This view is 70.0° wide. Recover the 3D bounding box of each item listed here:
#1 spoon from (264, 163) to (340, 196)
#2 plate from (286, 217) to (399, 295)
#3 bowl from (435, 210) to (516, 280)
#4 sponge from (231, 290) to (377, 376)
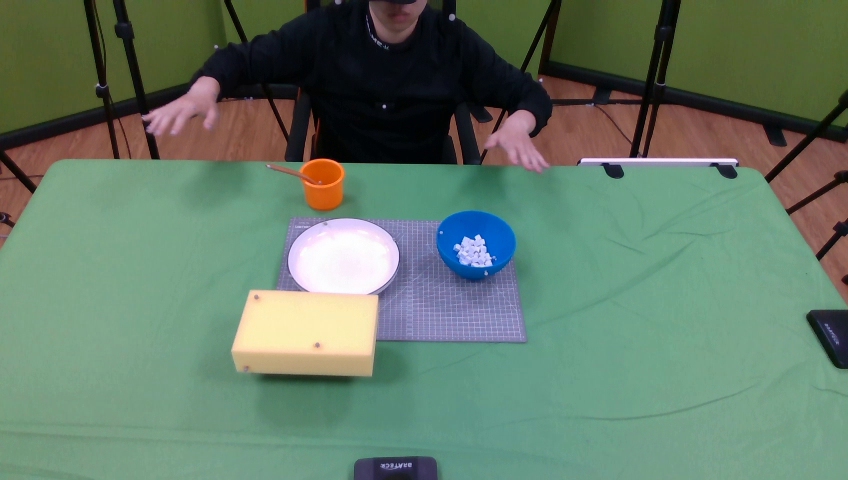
[{"bbox_3d":[-0.241,-0.123,1.210,0.021,0.195,0.041,-49,54,13],"label":"spoon"},{"bbox_3d":[-0.150,0.041,1.131,0.209,0.038,0.208,2,45,-2],"label":"plate"},{"bbox_3d":[0.093,0.022,1.141,0.151,0.077,0.150,2,46,-2],"label":"bowl"},{"bbox_3d":[-0.180,0.145,0.949,0.207,0.061,0.117,2,46,-2],"label":"sponge"}]
